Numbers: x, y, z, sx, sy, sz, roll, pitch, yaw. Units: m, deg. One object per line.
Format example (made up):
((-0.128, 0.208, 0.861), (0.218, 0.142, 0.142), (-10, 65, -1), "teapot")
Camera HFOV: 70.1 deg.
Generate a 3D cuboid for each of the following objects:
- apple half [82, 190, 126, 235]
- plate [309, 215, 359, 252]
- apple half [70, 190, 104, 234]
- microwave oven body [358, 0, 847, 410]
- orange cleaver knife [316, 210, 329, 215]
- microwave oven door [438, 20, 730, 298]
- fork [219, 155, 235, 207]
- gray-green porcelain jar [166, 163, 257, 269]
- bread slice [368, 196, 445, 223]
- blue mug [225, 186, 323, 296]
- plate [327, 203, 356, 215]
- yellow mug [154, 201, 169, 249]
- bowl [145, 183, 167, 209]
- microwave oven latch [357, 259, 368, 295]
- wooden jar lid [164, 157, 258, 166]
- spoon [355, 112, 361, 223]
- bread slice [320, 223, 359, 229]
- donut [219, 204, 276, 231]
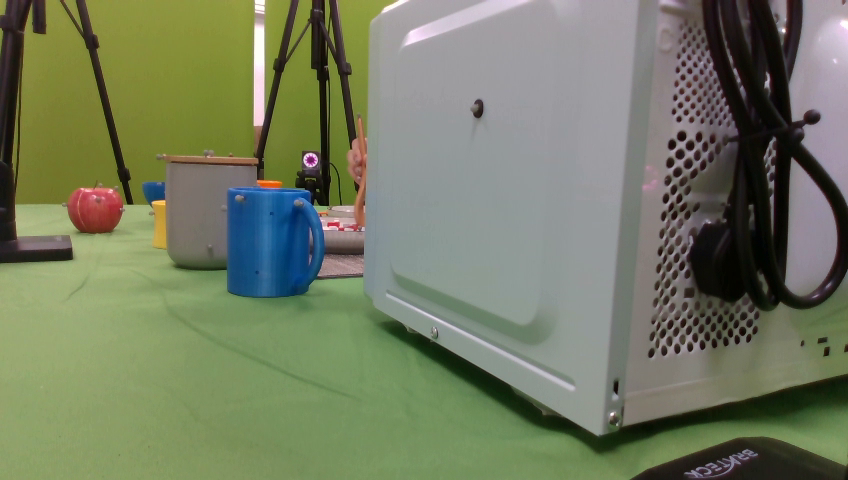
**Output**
((-0.517, -0.046, 0.994), (0.032, 0.081, 0.081), (0, 6, 26), "apple half")
((-0.130, -0.011, 0.945), (0.208, 0.039, 0.207), (2, 8, 0), "plate")
((-0.552, -0.047, 1.009), (0.053, 0.074, 0.081), (-1, 9, 26), "apple half")
((0.210, -0.051, 0.471), (0.444, 0.260, 0.324), (-1, 7, -28), "microwave oven body")
((-0.259, -0.064, 1.423), (0.212, 0.012, 0.077), (-4, 3, -30), "orange cleaver knife")
((0.181, -0.076, 0.618), (0.358, 0.243, 0.039), (-2, 8, -28), "microwave oven door")
((-0.459, -0.134, 1.415), (0.028, 0.018, 0.207), (-1, -34, -24), "fork")
((-0.263, -0.031, 0.754), (0.106, 0.126, 0.106), (2, 7, 0), "gray-green porcelain jar")
((-0.040, -0.057, 1.142), (0.107, 0.018, 0.133), (-8, -8, -40), "bread slice")
((-0.148, 0.000, 0.618), (0.116, 0.106, 0.083), (7, 9, 33), "blue mug")
((-0.102, -0.053, 1.299), (0.209, 0.038, 0.209), (2, 8, 0), "plate")
((-0.337, -0.022, 0.899), (0.130, 0.064, 0.100), (8, 9, 34), "yellow mug")
((-0.459, -0.068, 1.175), (0.151, 0.077, 0.151), (3, 7, 0), "bowl")
((-0.019, 0.031, 0.529), (0.079, 0.029, 0.030), (-1, 7, -26), "microwave oven latch")
((-0.261, -0.093, 0.746), (0.108, 0.020, 0.108), (0, 9, 0), "wooden jar lid")
((-0.094, -0.105, 0.931), (0.021, 0.193, 0.042), (-4, -12, 12), "spoon")
((-0.125, -0.011, 0.938), (0.131, 0.019, 0.105), (8, 9, 32), "bread slice")
((-0.316, -0.039, 1.083), (0.099, 0.048, 0.099), (2, 6, 0), "donut")
